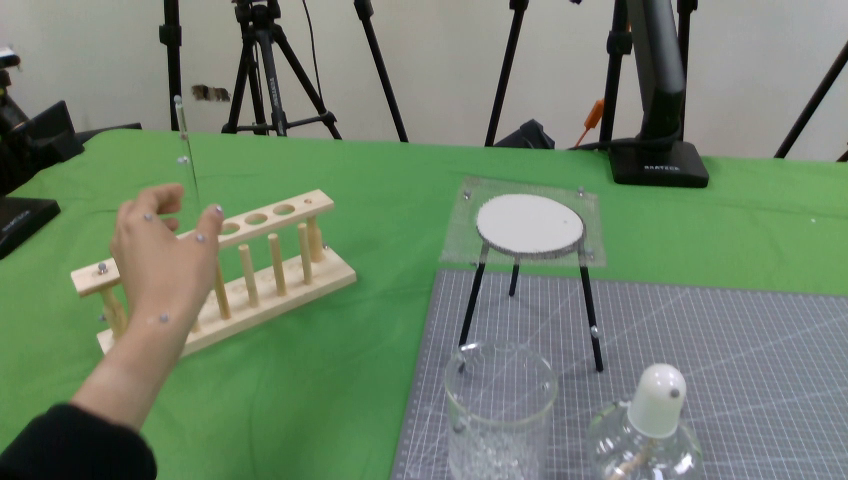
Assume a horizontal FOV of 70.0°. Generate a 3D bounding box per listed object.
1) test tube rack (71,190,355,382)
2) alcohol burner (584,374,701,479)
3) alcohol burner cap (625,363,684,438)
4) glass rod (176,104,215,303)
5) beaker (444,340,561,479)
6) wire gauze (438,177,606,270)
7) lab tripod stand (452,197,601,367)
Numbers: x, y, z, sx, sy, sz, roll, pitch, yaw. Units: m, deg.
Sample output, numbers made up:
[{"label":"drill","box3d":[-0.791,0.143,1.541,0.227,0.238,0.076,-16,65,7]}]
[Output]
[{"label":"test tube rack","box3d":[-0.191,0.036,0.588,0.243,0.086,0.066,-23,39,-29]},{"label":"alcohol burner","box3d":[0.150,0.130,0.410,0.078,0.120,0.077,0,36,1]},{"label":"alcohol burner cap","box3d":[0.150,0.100,0.389,0.034,0.048,0.033,1,36,-1]},{"label":"glass rod","box3d":[-0.211,-0.027,0.564,0.008,0.201,0.008,1,27,0]},{"label":"beaker","box3d":[0.049,0.130,0.425,0.074,0.101,0.083,-24,40,-29]},{"label":"wire gauze","box3d":[0.081,-0.014,0.487,0.121,0.011,0.124,6,35,9]},{"label":"lab tripod stand","box3d":[0.091,0.040,0.526,0.148,0.132,0.147,1,34,0]}]
